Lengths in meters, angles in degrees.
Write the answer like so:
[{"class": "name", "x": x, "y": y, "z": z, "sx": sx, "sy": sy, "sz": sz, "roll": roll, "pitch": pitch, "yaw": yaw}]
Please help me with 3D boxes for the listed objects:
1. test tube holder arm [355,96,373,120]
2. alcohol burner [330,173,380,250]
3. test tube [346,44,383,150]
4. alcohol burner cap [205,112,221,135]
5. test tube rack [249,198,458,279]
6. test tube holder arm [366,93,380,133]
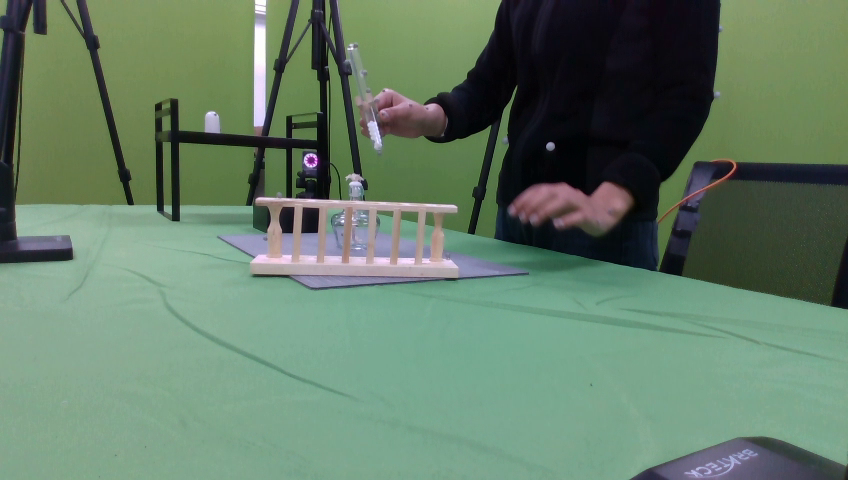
[{"class": "test tube holder arm", "x": -0.082, "y": -0.186, "z": 0.859, "sx": 0.010, "sy": 0.015, "sz": 0.088, "roll": -20, "pitch": -3, "yaw": 7}, {"class": "alcohol burner", "x": -0.107, "y": -0.044, "z": 0.938, "sx": 0.078, "sy": 0.119, "sz": 0.078, "roll": 1, "pitch": 6, "yaw": 0}, {"class": "test tube", "x": -0.082, "y": -0.197, "z": 0.837, "sx": 0.017, "sy": 0.150, "sz": 0.017, "roll": -15, "pitch": -1, "yaw": 0}, {"class": "alcohol burner cap", "x": -0.443, "y": -0.245, "z": 1.270, "sx": 0.034, "sy": 0.048, "sz": 0.034, "roll": 3, "pitch": 8, "yaw": 0}, {"class": "test tube rack", "x": -0.081, "y": -0.003, "z": 0.732, "sx": 0.243, "sy": 0.085, "sz": 0.066, "roll": 2, "pitch": 8, "yaw": -7}, {"class": "test tube holder arm", "x": -0.075, "y": -0.186, "z": 0.904, "sx": 0.013, "sy": 0.015, "sz": 0.178, "roll": -19, "pitch": -3, "yaw": -2}]
